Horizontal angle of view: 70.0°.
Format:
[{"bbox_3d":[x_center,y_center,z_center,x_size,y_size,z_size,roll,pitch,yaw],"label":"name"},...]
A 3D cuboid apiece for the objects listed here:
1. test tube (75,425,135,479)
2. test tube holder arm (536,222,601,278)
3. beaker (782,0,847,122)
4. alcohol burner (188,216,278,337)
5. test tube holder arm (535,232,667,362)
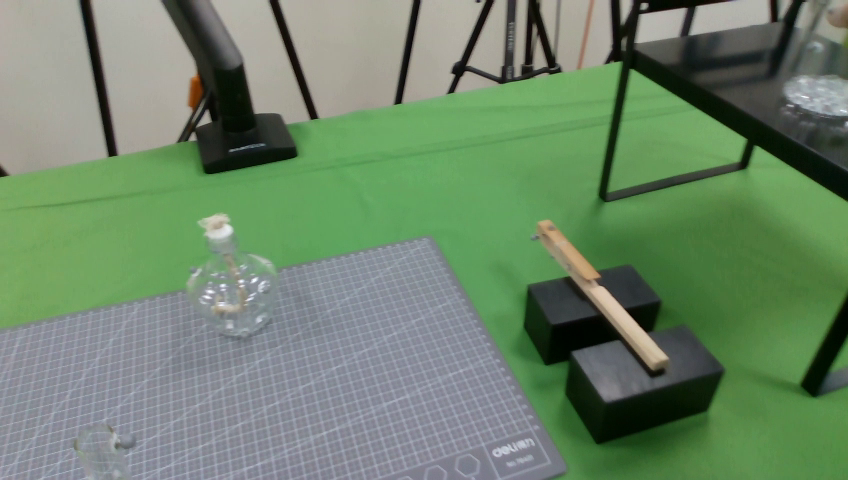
[{"bbox_3d":[-0.135,0.144,0.287,0.017,0.151,0.017,0,32,0],"label":"test tube"},{"bbox_3d":[0.127,0.011,0.540,0.015,0.010,0.087,-7,36,-19],"label":"test tube holder arm"},{"bbox_3d":[0.329,-0.150,0.470,0.084,0.101,0.073,-8,38,-7],"label":"beaker"},{"bbox_3d":[-0.169,0.028,0.530,0.078,0.120,0.077,1,38,0],"label":"alcohol burner"},{"bbox_3d":[0.142,0.040,0.508,0.015,0.013,0.176,-8,35,-19],"label":"test tube holder arm"}]
